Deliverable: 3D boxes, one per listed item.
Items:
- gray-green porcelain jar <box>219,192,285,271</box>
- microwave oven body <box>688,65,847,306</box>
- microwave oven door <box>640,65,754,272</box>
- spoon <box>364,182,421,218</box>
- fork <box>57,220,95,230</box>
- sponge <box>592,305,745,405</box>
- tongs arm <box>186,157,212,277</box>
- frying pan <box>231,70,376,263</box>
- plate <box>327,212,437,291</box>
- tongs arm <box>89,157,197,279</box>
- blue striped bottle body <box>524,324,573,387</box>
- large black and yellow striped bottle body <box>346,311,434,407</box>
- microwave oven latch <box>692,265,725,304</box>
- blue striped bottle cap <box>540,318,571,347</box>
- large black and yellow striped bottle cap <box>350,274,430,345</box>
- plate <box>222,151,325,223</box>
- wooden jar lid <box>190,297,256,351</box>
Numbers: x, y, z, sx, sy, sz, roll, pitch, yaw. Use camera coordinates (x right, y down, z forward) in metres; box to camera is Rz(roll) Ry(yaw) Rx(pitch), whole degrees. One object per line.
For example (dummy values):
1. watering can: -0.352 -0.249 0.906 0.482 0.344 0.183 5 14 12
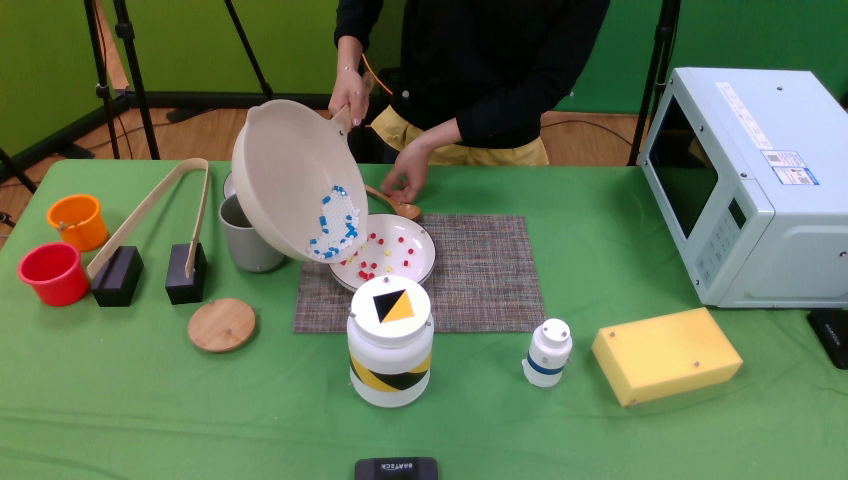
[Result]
1. gray-green porcelain jar: -0.310 -0.014 1.113 0.106 0.127 0.105 2 47 -2
2. microwave oven body: 0.669 -0.111 1.176 0.326 0.261 0.439 0 46 -3
3. microwave oven door: 0.523 -0.147 1.193 0.039 0.245 0.353 0 47 -3
4. spoon: -0.084 -0.092 1.273 0.193 0.022 0.041 31 66 26
5. fork: -0.624 -0.027 1.086 0.028 0.207 0.018 -3 92 -17
6. sponge: 0.405 0.190 1.014 0.207 0.061 0.117 -10 48 -12
7. tongs arm: -0.445 -0.058 1.168 0.051 0.026 0.382 -5 37 -6
8. frying pan: -0.180 -0.168 1.105 0.102 0.308 0.485 -13 39 37
9. plate: -0.080 0.030 1.143 0.209 0.038 0.208 3 46 -2
10. tongs arm: -0.530 -0.057 1.164 0.028 0.028 0.385 1 36 8
11. blue striped bottle body: 0.200 0.178 0.970 0.063 0.121 0.062 2 46 -2
12. large black and yellow striped bottle body: -0.052 0.157 0.929 0.131 0.185 0.130 2 47 -2
13. microwave oven latch: 0.522 0.081 1.116 0.030 0.029 0.078 1 46 -2
14. blue striped bottle cap: 0.203 0.142 0.933 0.044 0.021 0.044 3 49 -3
15. large black and yellow striped bottle cap: -0.048 0.097 0.867 0.115 0.019 0.114 3 48 -3
16. plate: -0.310 -0.106 1.263 0.208 0.039 0.206 2 47 -2
17. wooden jar lid: -0.342 0.145 1.033 0.108 0.021 0.107 2 45 -2
